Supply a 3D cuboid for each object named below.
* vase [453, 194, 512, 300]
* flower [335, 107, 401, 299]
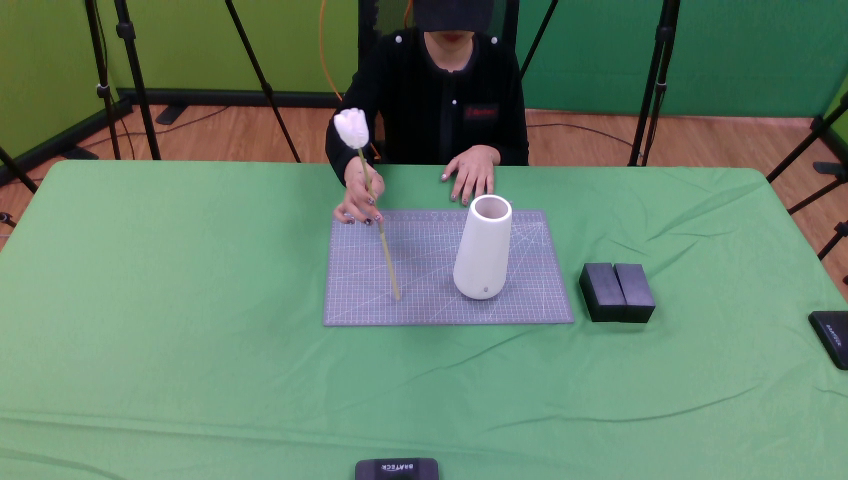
[{"bbox_3d":[0.107,0.016,1.065,0.098,0.201,0.097,3,47,-3],"label":"vase"},{"bbox_3d":[-0.079,-0.044,0.999,0.044,0.363,0.038,-21,33,-12],"label":"flower"}]
